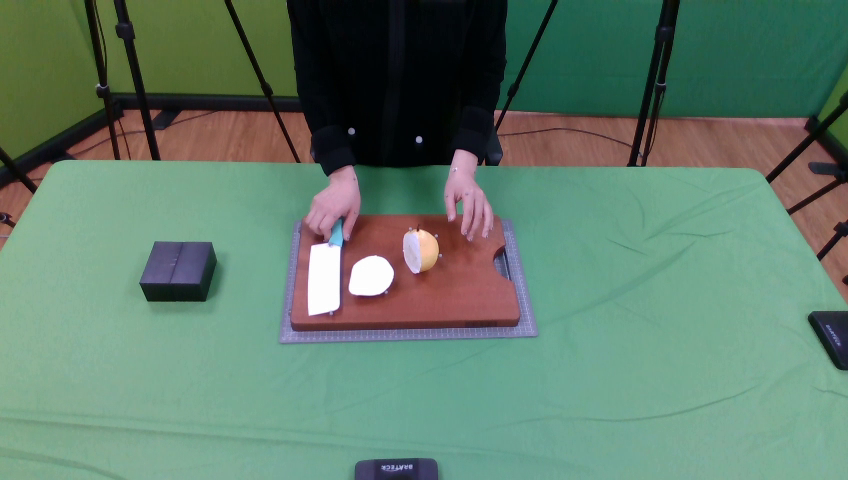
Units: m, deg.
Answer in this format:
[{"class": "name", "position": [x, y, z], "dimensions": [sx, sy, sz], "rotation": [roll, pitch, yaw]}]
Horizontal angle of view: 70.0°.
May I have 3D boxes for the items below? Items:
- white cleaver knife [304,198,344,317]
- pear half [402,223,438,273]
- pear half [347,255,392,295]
[{"class": "white cleaver knife", "position": [-0.184, 0.022, 1.122], "dimensions": [0.066, 0.021, 0.284], "rotation": [-4, 46, 0]}, {"class": "pear half", "position": [-0.003, 0.005, 1.093], "dimensions": [0.056, 0.110, 0.076], "rotation": [-24, 56, -24]}, {"class": "pear half", "position": [-0.099, 0.069, 1.075], "dimensions": [0.088, 0.031, 0.070], "rotation": [-39, 75, -17]}]
